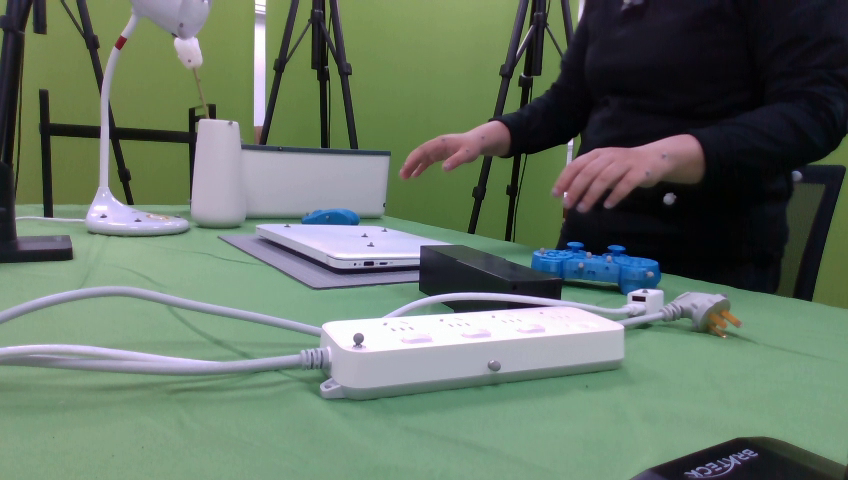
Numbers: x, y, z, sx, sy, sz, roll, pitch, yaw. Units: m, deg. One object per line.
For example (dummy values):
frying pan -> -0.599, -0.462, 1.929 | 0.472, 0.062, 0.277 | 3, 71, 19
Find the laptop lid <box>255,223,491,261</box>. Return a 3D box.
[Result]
laptop lid -> -0.093, 0.000, 0.910 | 0.243, 0.013, 0.355 | 1, 7, -30

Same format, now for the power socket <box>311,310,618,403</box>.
power socket -> 0.034, 0.074, 0.415 | 0.228, 0.032, 0.072 | -1, 7, -24

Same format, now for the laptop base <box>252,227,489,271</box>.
laptop base -> -0.096, 0.011, 0.911 | 0.237, 0.023, 0.352 | 2, 7, -32

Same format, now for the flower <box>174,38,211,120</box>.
flower -> -0.401, -0.207, 1.141 | 0.038, 0.361, 0.044 | -14, 3, 44

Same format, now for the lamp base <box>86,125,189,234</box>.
lamp base -> -0.497, -0.105, 1.027 | 0.179, 0.180, 0.160 | 1, 7, 3

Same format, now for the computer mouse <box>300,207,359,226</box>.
computer mouse -> -0.194, -0.046, 1.241 | 0.117, 0.041, 0.063 | 0, 10, 11

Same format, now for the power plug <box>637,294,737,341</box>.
power plug -> 0.234, 0.077, 0.535 | 0.072, 0.035, 0.052 | -33, 40, -6

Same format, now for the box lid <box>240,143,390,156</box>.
box lid -> -0.295, -0.217, 1.463 | 0.373, 0.015, 0.262 | -1, 8, -30

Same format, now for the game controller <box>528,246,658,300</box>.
game controller -> 0.202, 0.036, 0.733 | 0.155, 0.051, 0.097 | 5, 11, 20

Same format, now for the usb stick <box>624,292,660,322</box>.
usb stick -> 0.211, 0.064, 0.580 | 0.021, 0.027, 0.059 | -3, -5, 37

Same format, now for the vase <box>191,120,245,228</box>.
vase -> -0.389, -0.124, 1.142 | 0.098, 0.200, 0.098 | 3, 9, 0

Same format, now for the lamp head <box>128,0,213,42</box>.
lamp head -> -0.423, -0.394, 0.980 | 0.123, 0.112, 0.112 | 20, 7, -3

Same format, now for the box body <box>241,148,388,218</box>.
box body -> -0.297, -0.143, 1.474 | 0.366, 0.160, 0.253 | -1, 9, -30
